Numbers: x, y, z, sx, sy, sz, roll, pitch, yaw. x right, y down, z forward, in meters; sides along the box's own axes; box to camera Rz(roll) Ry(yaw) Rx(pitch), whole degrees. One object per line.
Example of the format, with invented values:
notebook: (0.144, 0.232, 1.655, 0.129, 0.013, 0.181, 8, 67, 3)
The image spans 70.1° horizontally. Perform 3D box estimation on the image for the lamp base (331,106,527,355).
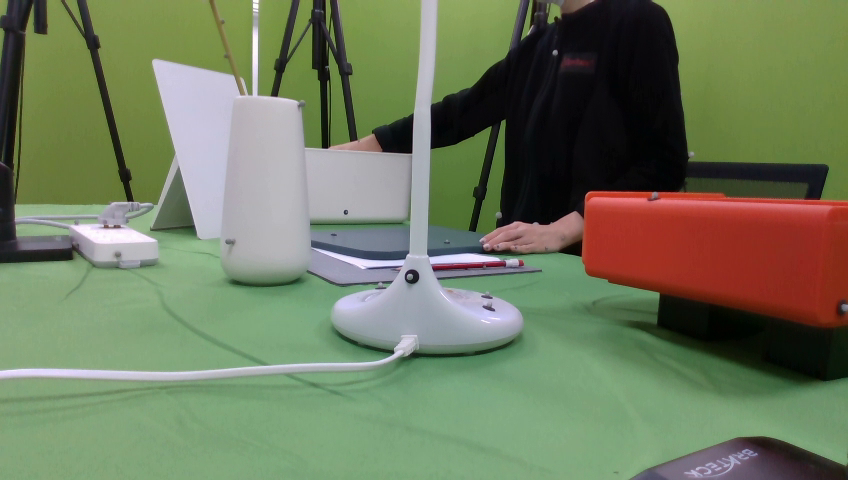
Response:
lamp base: (0.006, -0.012, 0.478, 0.161, 0.180, 0.179, 2, 10, 2)

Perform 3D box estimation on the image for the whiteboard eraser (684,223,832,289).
whiteboard eraser: (0.305, 0.013, 0.558, 0.056, 0.042, 0.112, -9, 19, -30)

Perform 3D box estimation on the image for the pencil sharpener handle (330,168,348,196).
pencil sharpener handle: (-0.201, -0.140, 1.448, 0.031, 0.068, 0.036, -13, 13, -28)

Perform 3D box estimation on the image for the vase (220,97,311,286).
vase: (-0.172, -0.052, 0.662, 0.098, 0.200, 0.098, 3, 8, 0)

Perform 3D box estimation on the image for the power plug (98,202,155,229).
power plug: (-0.416, -0.027, 0.848, 0.073, 0.052, 0.035, 0, 8, -28)

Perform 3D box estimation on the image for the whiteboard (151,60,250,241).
whiteboard: (-0.408, -0.140, 1.093, 0.143, 0.305, 0.218, -15, 0, 25)

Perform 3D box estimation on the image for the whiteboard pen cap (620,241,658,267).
whiteboard pen cap: (0.199, 0.013, 0.557, 0.018, 0.018, 0.033, -4, 17, -40)

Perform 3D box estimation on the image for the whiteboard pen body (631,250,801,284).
whiteboard pen body: (0.239, 0.020, 0.512, 0.017, 0.017, 0.140, -4, 8, -41)

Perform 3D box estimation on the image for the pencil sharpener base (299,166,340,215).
pencil sharpener base: (-0.244, -0.118, 1.427, 0.077, 0.107, 0.061, -13, 13, -28)

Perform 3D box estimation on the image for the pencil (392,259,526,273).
pencil: (0.049, 0.035, 0.782, 0.195, 0.012, 0.012, -3, 9, -25)

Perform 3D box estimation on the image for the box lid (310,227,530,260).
box lid: (-0.024, 0.001, 1.023, 0.374, 0.015, 0.262, -4, 9, -44)

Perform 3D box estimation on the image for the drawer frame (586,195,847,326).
drawer frame: (0.284, 0.004, 0.508, 0.203, 0.082, 0.212, -1, 6, -28)

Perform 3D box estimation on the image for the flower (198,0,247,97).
flower: (-0.187, -0.133, 0.648, 0.038, 0.362, 0.044, -1, 22, 43)

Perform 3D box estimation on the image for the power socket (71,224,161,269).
power socket: (-0.408, 0.004, 0.793, 0.072, 0.032, 0.225, -2, 8, -38)

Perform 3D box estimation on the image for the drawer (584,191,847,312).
drawer: (0.280, 0.001, 0.513, 0.195, 0.073, 0.211, 0, 8, -28)

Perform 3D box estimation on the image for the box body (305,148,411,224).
box body: (-0.233, -0.127, 1.373, 0.366, 0.160, 0.253, -2, 8, -29)
